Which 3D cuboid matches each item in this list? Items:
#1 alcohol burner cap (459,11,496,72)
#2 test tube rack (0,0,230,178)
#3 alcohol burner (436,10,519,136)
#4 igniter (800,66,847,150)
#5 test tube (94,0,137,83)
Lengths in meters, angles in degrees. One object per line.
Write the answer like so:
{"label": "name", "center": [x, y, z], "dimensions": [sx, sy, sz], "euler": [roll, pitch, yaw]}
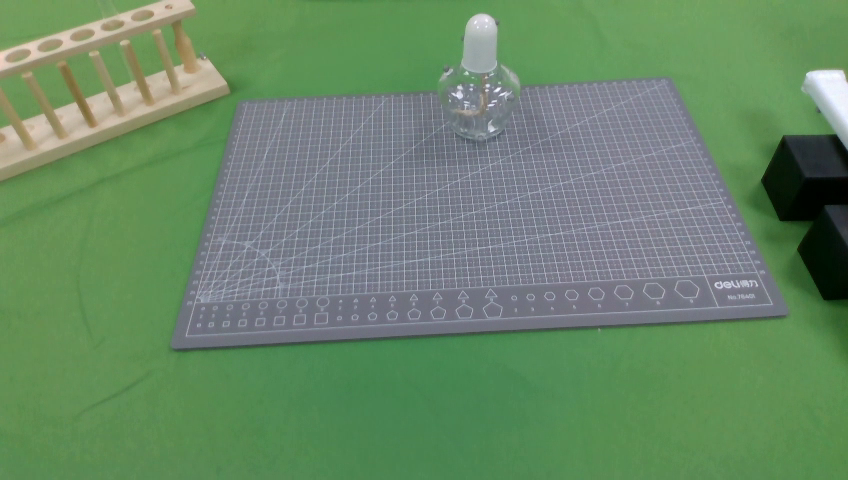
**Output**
{"label": "alcohol burner cap", "center": [0.048, -0.176, 0.528], "dimensions": [0.034, 0.048, 0.033], "euler": [1, 48, 0]}
{"label": "test tube rack", "center": [-0.327, -0.153, 0.590], "dimensions": [0.242, 0.086, 0.066], "euler": [-28, 54, -20]}
{"label": "alcohol burner", "center": [0.049, -0.154, 0.551], "dimensions": [0.078, 0.120, 0.077], "euler": [0, 51, 1]}
{"label": "igniter", "center": [0.341, -0.045, 0.442], "dimensions": [0.057, 0.025, 0.274], "euler": [-2, 48, 6]}
{"label": "test tube", "center": [-0.301, -0.217, 0.579], "dimensions": [0.017, 0.151, 0.017], "euler": [-1, 46, 1]}
